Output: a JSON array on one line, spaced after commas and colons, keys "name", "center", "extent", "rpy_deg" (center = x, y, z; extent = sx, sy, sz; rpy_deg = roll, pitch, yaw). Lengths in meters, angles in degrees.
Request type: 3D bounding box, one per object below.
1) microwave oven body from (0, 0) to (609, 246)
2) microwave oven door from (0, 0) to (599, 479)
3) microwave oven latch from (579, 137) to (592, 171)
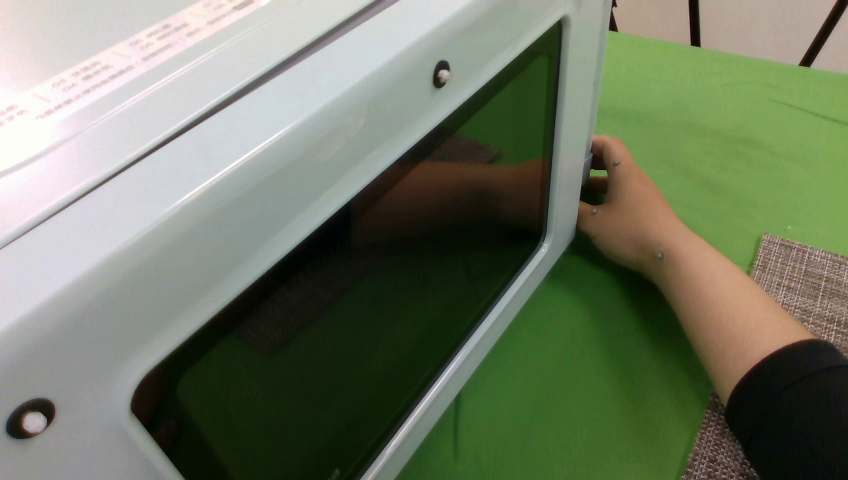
[{"name": "microwave oven body", "center": [-0.116, -0.064, 0.395], "extent": [0.324, 0.263, 0.440], "rpy_deg": [22, 51, 24]}, {"name": "microwave oven door", "center": [-0.008, 0.009, 0.302], "extent": [0.039, 0.246, 0.355], "rpy_deg": [24, 51, 27]}, {"name": "microwave oven latch", "center": [0.107, -0.061, 0.509], "extent": [0.079, 0.030, 0.030], "rpy_deg": [-34, 52, -25]}]
